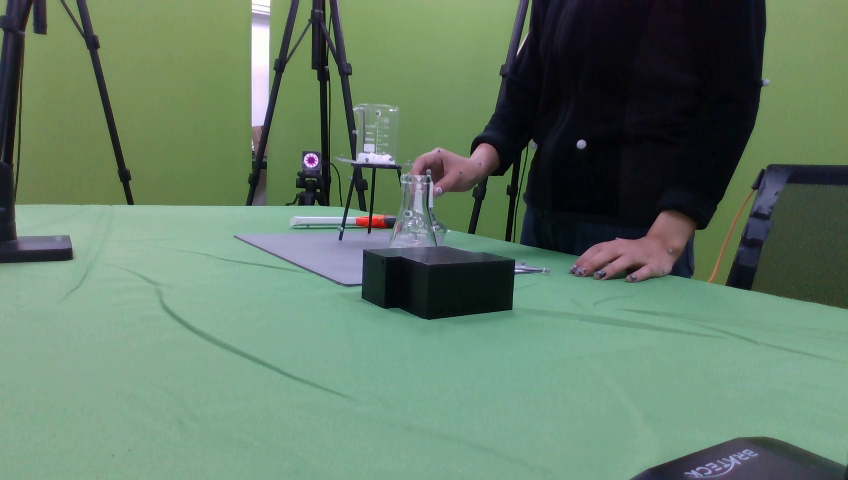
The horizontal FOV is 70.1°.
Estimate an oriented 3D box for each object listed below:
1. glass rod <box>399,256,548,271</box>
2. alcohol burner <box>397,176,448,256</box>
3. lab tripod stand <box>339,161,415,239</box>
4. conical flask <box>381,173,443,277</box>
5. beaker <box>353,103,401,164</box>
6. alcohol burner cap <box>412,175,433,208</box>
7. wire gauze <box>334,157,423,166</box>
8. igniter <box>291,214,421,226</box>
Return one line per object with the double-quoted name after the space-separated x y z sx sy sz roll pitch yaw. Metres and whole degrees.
0.064 0.030 0.806 0.199 0.008 0.008 4 7 10 "glass rod"
-0.001 -0.037 0.903 0.078 0.119 0.078 4 9 0 "alcohol burner"
-0.082 -0.070 1.059 0.148 0.131 0.148 4 6 0 "lab tripod stand"
-0.012 -0.020 0.731 0.075 0.122 0.075 2 7 0 "conical flask"
-0.084 -0.183 1.046 0.084 0.100 0.074 4 6 3 "beaker"
-0.001 -0.072 0.898 0.034 0.048 0.034 3 6 0 "alcohol burner cap"
-0.081 -0.135 1.051 0.122 0.011 0.124 2 5 -30 "wire gauze"
-0.135 -0.041 1.250 0.278 0.025 0.057 -1 -3 -28 "igniter"
